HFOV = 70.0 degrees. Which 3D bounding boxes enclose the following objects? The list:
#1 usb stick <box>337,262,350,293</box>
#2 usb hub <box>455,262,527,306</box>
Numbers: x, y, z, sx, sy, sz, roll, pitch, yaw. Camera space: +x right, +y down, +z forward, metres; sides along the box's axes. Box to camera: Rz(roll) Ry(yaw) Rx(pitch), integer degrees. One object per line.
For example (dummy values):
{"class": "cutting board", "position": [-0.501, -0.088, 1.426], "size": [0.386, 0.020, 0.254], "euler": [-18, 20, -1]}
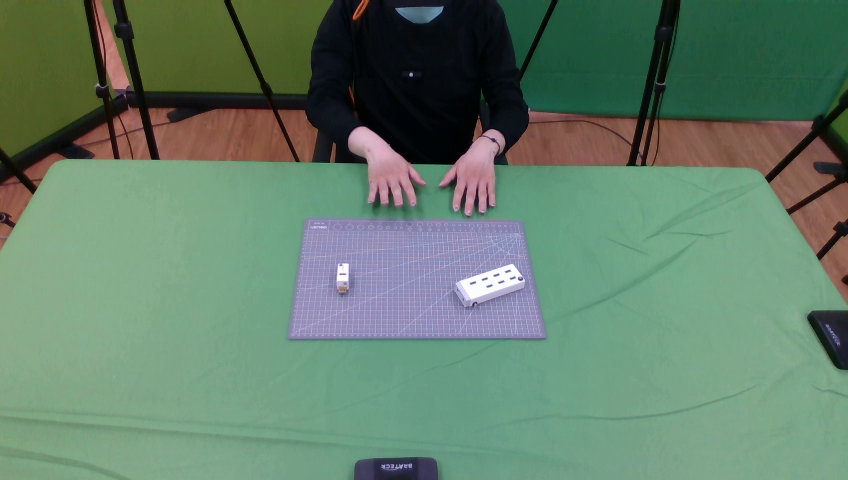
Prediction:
{"class": "usb stick", "position": [-0.148, 0.070, 1.109], "size": [0.021, 0.027, 0.059], "euler": [1, 49, -5]}
{"class": "usb hub", "position": [0.124, 0.082, 1.117], "size": [0.125, 0.025, 0.049], "euler": [-17, 50, -18]}
